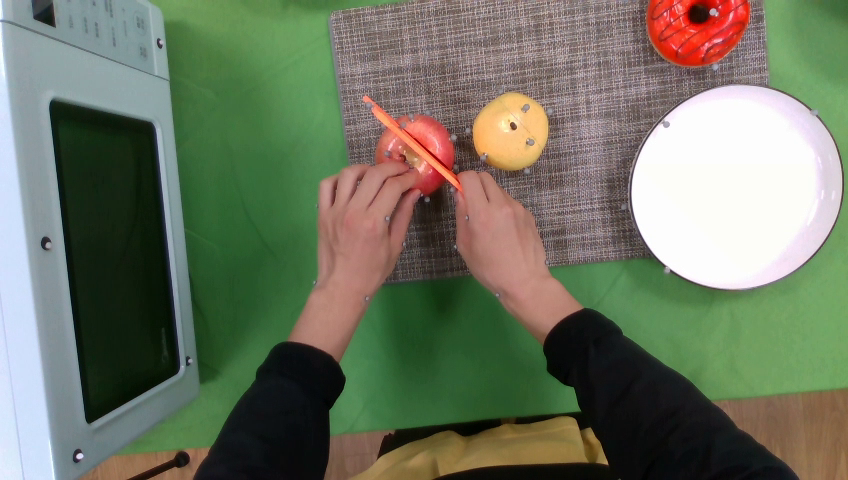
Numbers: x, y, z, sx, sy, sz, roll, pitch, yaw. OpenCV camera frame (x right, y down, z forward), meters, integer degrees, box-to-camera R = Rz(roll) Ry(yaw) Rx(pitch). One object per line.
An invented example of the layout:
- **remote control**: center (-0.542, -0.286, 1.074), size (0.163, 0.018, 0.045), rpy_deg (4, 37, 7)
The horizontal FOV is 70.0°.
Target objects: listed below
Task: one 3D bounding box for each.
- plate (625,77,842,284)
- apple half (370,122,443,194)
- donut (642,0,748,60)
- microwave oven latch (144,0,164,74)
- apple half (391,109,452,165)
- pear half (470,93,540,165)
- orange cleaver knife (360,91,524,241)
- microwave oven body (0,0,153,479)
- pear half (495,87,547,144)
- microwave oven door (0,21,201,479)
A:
- **plate**: center (0.312, -0.060, 0.623), size (0.209, 0.038, 0.209), rpy_deg (0, 96, 5)
- **apple half**: center (-0.025, -0.079, 0.633), size (0.081, 0.074, 0.053), rpy_deg (44, 99, -6)
- **donut**: center (0.269, -0.231, 0.607), size (0.099, 0.048, 0.099), rpy_deg (1, 96, 8)
- **microwave oven latch**: center (-0.299, -0.220, 0.647), size (0.030, 0.029, 0.079), rpy_deg (-2, 96, 5)
- **apple half**: center (0.004, -0.113, 0.627), size (0.081, 0.081, 0.033), rpy_deg (40, 94, 1)
- **pear half**: center (0.076, -0.106, 0.604), size (0.076, 0.110, 0.056), rpy_deg (43, 97, 5)
- **orange cleaver knife**: center (0.019, -0.073, 0.603), size (0.213, 0.076, 0.012), rpy_deg (40, 100, -19)
- **microwave oven body**: center (-0.443, -0.026, 0.582), size (0.326, 0.260, 0.442), rpy_deg (-4, 96, 5)
- **pear half**: center (0.102, -0.131, 0.609), size (0.070, 0.088, 0.031), rpy_deg (43, 98, 6)
- **microwave oven door**: center (-0.296, 0.008, 0.567), size (0.039, 0.243, 0.356), rpy_deg (-4, 95, 6)
